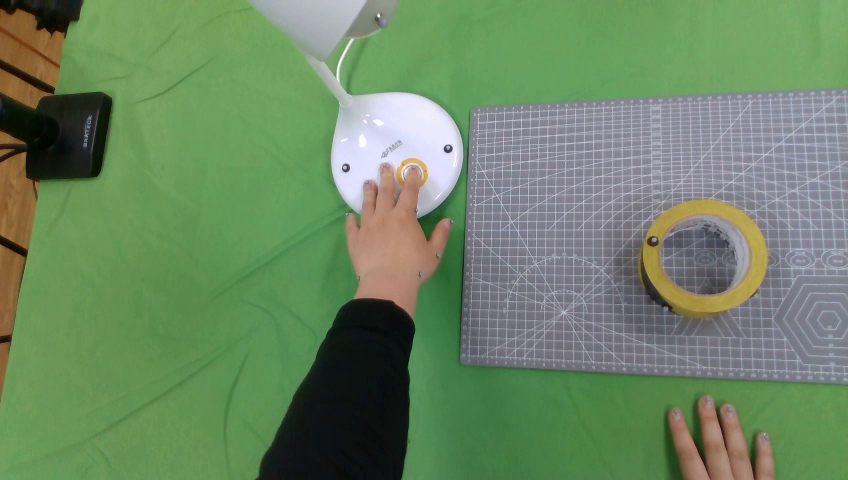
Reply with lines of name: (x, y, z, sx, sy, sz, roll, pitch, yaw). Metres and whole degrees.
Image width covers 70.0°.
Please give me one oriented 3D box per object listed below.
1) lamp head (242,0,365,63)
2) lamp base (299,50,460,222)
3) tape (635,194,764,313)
lamp head: (-0.083, -0.182, 0.353, 0.123, 0.112, 0.112, 29, 85, -16)
lamp base: (-0.063, -0.123, 0.645, 0.178, 0.181, 0.160, 41, 89, 21)
tape: (0.269, 0.014, 0.600, 0.116, 0.053, 0.116, -3, 77, 12)
